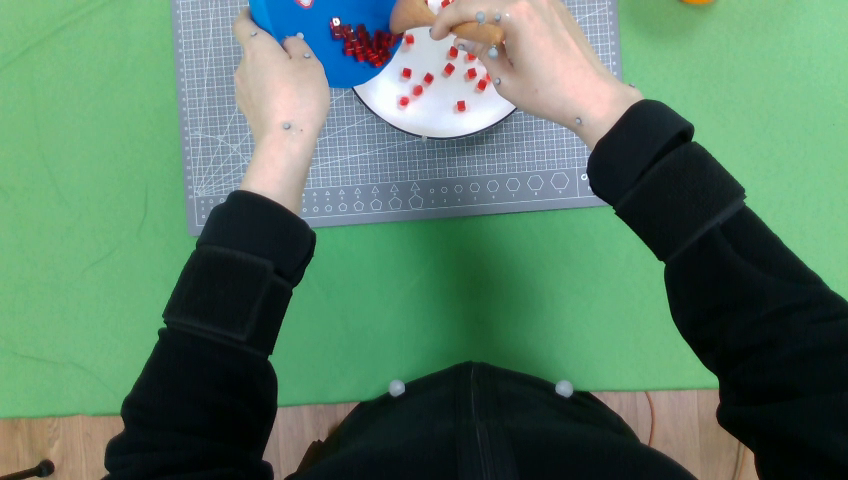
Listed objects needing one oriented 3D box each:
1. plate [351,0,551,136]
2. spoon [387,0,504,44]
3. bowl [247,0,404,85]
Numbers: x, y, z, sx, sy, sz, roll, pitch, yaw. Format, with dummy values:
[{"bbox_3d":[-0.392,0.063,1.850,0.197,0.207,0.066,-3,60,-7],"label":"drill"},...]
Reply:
[{"bbox_3d":[0.018,-0.205,0.594,0.209,0.038,0.209,0,91,3],"label":"plate"},{"bbox_3d":[0.012,-0.165,0.449,0.022,0.191,0.041,23,102,-35],"label":"spoon"},{"bbox_3d":[-0.091,-0.210,0.500,0.076,0.153,0.151,24,92,39],"label":"bowl"}]
